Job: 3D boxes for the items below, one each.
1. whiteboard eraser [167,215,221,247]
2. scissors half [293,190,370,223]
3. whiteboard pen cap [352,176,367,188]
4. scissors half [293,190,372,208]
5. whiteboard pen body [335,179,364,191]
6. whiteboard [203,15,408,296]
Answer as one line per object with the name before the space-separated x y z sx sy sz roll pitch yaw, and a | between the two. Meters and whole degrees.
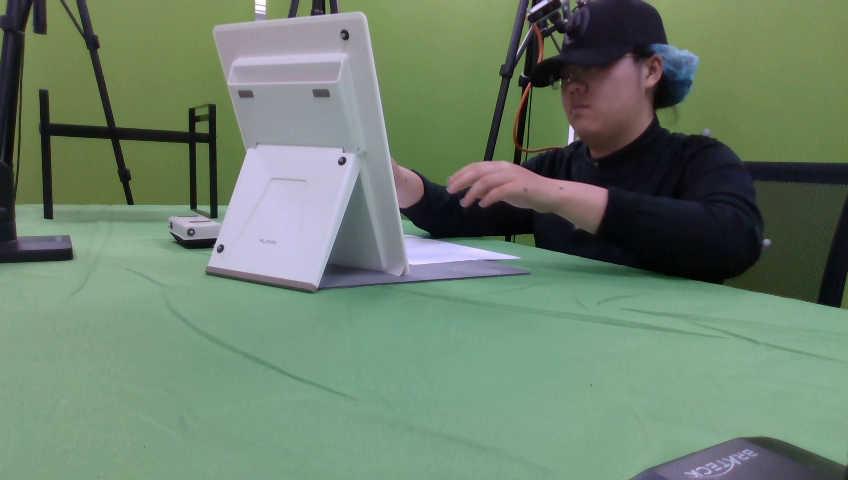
whiteboard eraser | -0.350 -0.014 0.920 0.056 0.042 0.112 0 7 -35
scissors half | -0.205 -0.077 1.338 0.175 0.040 0.013 22 11 -8
whiteboard pen cap | -0.094 -0.083 0.871 0.018 0.018 0.033 0 0 -22
scissors half | -0.201 -0.096 1.333 0.175 0.040 0.013 5 19 -4
whiteboard pen body | -0.113 -0.084 0.926 0.017 0.017 0.140 0 3 -22
whiteboard | -0.166 -0.072 0.669 0.216 0.305 0.144 8 30 30
